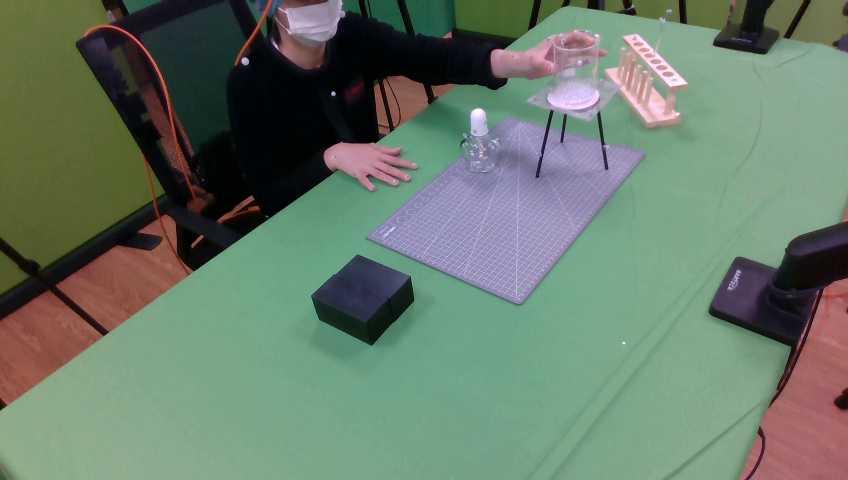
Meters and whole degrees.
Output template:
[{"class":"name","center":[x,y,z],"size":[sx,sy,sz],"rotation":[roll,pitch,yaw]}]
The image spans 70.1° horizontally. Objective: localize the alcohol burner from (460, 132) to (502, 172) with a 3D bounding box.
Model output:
[{"class":"alcohol burner","center":[0.102,-0.185,1.098],"size":[0.078,0.119,0.077],"rotation":[-6,40,5]}]

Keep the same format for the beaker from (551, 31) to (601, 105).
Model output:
[{"class":"beaker","center":[0.251,-0.282,0.997],"size":[0.084,0.101,0.073],"rotation":[-18,42,-9]}]

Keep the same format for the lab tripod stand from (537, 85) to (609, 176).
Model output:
[{"class":"lab tripod stand","center":[0.259,-0.192,1.068],"size":[0.148,0.132,0.147],"rotation":[-4,43,4]}]

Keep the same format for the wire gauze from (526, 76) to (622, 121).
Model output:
[{"class":"wire gauze","center":[0.255,-0.247,1.031],"size":[0.124,0.011,0.122],"rotation":[23,50,34]}]

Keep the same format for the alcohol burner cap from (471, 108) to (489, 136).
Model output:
[{"class":"alcohol burner cap","center":[0.098,-0.211,1.074],"size":[0.034,0.048,0.033],"rotation":[-7,42,6]}]

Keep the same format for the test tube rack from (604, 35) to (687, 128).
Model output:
[{"class":"test tube rack","center":[0.447,-0.330,1.241],"size":[0.067,0.085,0.241],"rotation":[-9,41,-2]}]

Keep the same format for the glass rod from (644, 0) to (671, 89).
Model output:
[{"class":"glass rod","center":[0.463,-0.387,1.204],"size":[0.008,0.200,0.008],"rotation":[0,47,1]}]
